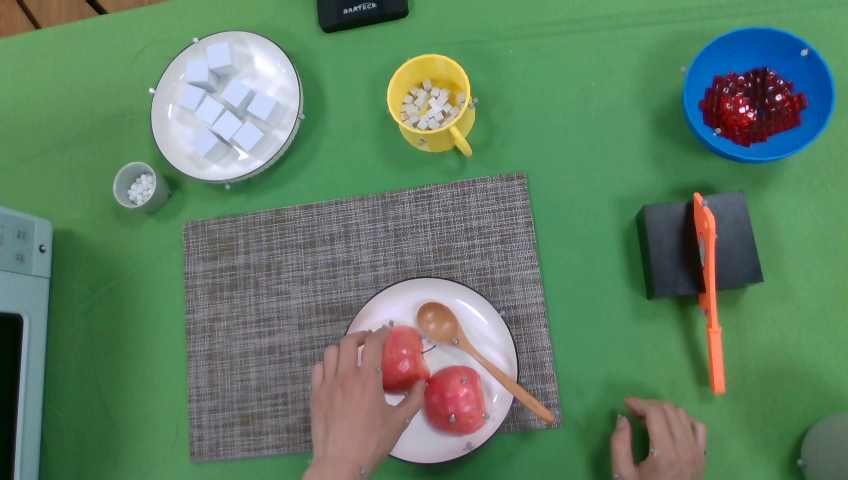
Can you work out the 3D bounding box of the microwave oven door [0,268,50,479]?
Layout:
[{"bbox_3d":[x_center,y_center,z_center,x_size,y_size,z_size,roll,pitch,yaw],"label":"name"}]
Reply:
[{"bbox_3d":[-0.518,0.199,0.654,0.039,0.245,0.354,-5,79,9],"label":"microwave oven door"}]

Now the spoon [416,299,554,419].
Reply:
[{"bbox_3d":[0.065,0.133,0.674,0.192,0.022,0.041,38,76,26],"label":"spoon"}]

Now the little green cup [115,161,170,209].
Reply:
[{"bbox_3d":[-0.368,-0.070,0.798,0.061,0.039,0.061,-1,81,8],"label":"little green cup"}]

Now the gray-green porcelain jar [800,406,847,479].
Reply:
[{"bbox_3d":[0.429,0.212,0.570,0.105,0.127,0.105,-2,79,10],"label":"gray-green porcelain jar"}]

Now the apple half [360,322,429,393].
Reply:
[{"bbox_3d":[-0.036,0.134,0.688,0.074,0.053,0.080,-10,78,10],"label":"apple half"}]

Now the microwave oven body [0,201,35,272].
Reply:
[{"bbox_3d":[-0.663,0.171,0.688,0.325,0.261,0.440,-5,80,8],"label":"microwave oven body"}]

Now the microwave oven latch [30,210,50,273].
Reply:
[{"bbox_3d":[-0.510,0.003,0.791,0.030,0.029,0.079,-4,80,8],"label":"microwave oven latch"}]

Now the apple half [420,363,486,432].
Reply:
[{"bbox_3d":[0.031,0.178,0.678,0.081,0.033,0.081,-2,76,9],"label":"apple half"}]

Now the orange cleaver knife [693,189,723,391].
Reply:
[{"bbox_3d":[0.299,0.053,0.642,0.012,0.077,0.212,-7,103,12],"label":"orange cleaver knife"}]

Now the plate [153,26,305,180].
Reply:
[{"bbox_3d":[-0.253,-0.177,0.798,0.207,0.039,0.207,-2,80,10],"label":"plate"}]

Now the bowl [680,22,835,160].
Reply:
[{"bbox_3d":[0.355,-0.152,0.670,0.151,0.077,0.151,-2,80,10],"label":"bowl"}]

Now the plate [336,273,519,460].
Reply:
[{"bbox_3d":[0.004,0.143,0.695,0.209,0.038,0.208,-1,81,9],"label":"plate"}]

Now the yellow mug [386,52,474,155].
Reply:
[{"bbox_3d":[0.018,-0.156,0.735,0.100,0.064,0.130,-36,77,2],"label":"yellow mug"}]
